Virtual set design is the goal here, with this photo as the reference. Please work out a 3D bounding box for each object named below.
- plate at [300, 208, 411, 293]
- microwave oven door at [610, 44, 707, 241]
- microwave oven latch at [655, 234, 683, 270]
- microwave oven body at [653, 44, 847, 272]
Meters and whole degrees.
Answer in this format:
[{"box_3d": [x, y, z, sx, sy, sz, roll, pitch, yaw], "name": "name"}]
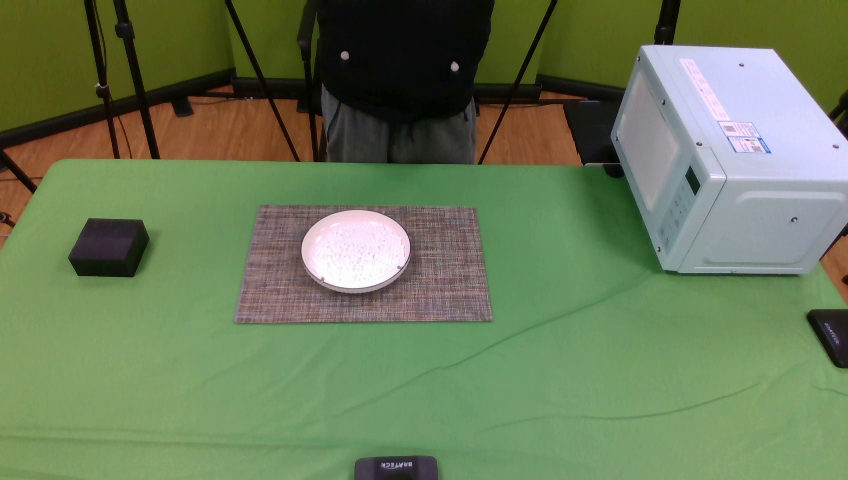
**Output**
[{"box_3d": [-0.128, 0.022, 1.149, 0.209, 0.038, 0.208, 2, 47, -2], "name": "plate"}, {"box_3d": [0.473, -0.207, 1.250, 0.039, 0.245, 0.353, 1, 47, -4], "name": "microwave oven door"}, {"box_3d": [0.473, 0.021, 1.175, 0.030, 0.029, 0.078, 2, 46, -1], "name": "microwave oven latch"}, {"box_3d": [0.620, -0.172, 1.234, 0.326, 0.261, 0.439, 0, 46, -3], "name": "microwave oven body"}]
